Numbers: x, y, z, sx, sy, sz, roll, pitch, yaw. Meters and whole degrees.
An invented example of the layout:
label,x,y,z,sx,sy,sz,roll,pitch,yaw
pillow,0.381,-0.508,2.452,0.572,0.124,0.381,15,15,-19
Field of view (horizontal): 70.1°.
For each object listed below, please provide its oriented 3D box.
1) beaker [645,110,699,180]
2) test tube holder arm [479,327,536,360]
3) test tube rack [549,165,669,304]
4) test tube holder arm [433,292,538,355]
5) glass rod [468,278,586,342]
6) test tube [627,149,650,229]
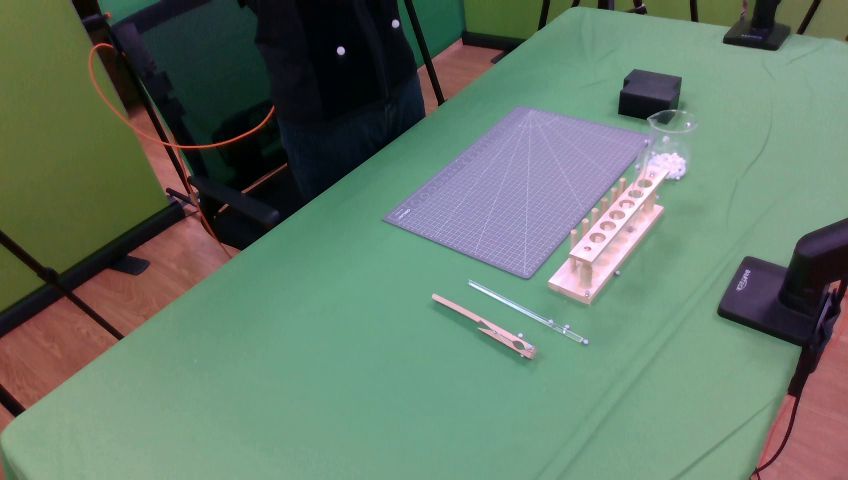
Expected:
label,x,y,z,sx,sy,sz,roll,pitch,yaw
beaker,0.417,-0.160,1.032,0.083,0.101,0.074,25,51,35
test tube holder arm,0.110,0.134,0.805,0.087,0.015,0.010,29,83,36
test tube rack,0.279,-0.018,0.902,0.066,0.085,0.243,24,50,33
test tube holder arm,0.081,0.112,0.832,0.177,0.015,0.013,28,82,36
glass rod,0.140,0.096,0.853,0.198,0.008,0.008,27,53,35
test tube,0.311,-0.071,0.881,0.017,0.151,0.017,-5,47,5
